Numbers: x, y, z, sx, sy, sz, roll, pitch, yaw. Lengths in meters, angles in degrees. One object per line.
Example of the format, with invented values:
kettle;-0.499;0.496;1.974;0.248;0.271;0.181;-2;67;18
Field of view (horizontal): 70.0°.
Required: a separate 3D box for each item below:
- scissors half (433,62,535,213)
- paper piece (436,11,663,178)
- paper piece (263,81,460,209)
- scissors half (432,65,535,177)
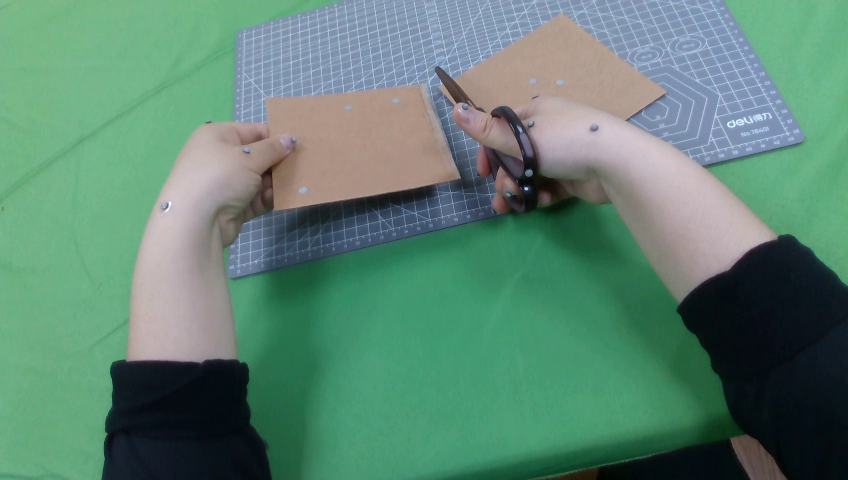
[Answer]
scissors half;0.040;-0.085;0.463;0.013;0.040;0.173;-22;58;-7
paper piece;0.100;-0.128;0.507;0.135;0.004;0.134;-33;59;-7
paper piece;-0.055;-0.081;0.473;0.138;0.009;0.134;-10;44;-6
scissors half;0.038;-0.099;0.447;0.013;0.040;0.173;-18;38;-11
